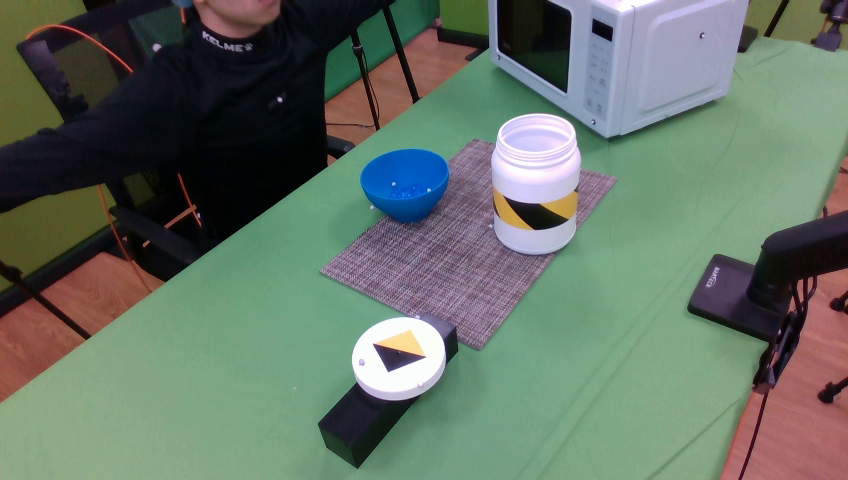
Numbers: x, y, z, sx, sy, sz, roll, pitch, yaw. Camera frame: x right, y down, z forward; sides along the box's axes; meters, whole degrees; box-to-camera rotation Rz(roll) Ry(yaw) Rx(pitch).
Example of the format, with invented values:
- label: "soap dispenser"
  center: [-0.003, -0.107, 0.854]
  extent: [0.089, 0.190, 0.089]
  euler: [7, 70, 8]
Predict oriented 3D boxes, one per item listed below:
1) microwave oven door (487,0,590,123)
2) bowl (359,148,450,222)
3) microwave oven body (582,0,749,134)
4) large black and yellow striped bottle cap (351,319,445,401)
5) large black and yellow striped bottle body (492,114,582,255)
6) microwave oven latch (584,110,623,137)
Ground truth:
- label: "microwave oven door"
  center: [0.232, -0.420, 1.230]
  extent: [0.039, 0.245, 0.352]
  euler: [-22, 43, -16]
- label: "bowl"
  center: [-0.029, -0.083, 1.022]
  extent: [0.151, 0.077, 0.150]
  euler: [-4, 40, 4]
- label: "microwave oven body"
  center: [0.382, -0.444, 1.246]
  extent: [0.327, 0.261, 0.437]
  euler: [-22, 42, -16]
- label: "large black and yellow striped bottle cap"
  center: [-0.031, 0.143, 0.735]
  extent: [0.115, 0.019, 0.114]
  euler: [-3, 40, 3]
- label: "large black and yellow striped bottle body"
  center: [0.169, -0.083, 0.912]
  extent: [0.131, 0.185, 0.130]
  euler: [-4, 41, 4]
- label: "microwave oven latch"
  center: [0.337, -0.222, 1.142]
  extent: [0.030, 0.029, 0.078]
  euler: [-21, 42, -14]
